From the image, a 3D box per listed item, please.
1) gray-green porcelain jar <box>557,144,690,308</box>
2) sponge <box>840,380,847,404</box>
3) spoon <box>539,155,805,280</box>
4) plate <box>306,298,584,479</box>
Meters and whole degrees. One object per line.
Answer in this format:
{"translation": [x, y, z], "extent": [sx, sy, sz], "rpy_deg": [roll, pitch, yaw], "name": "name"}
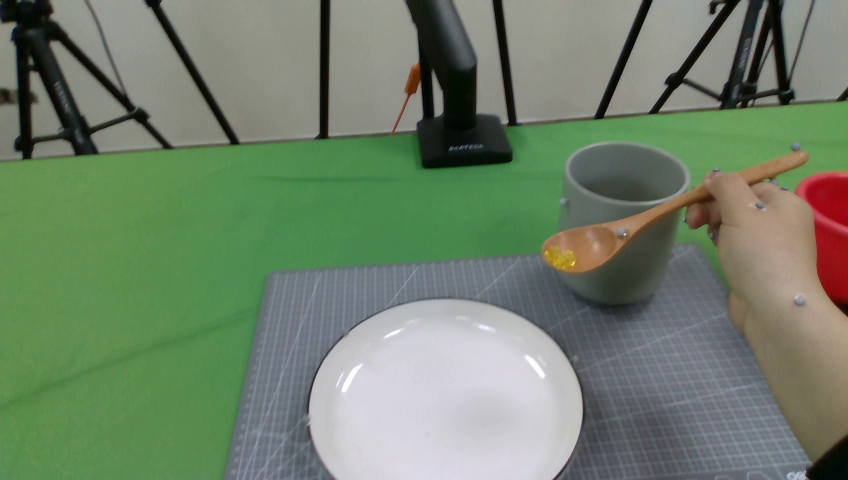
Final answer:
{"translation": [0.178, -0.009, 0.563], "extent": [0.106, 0.127, 0.105], "rpy_deg": [-2, 38, 2], "name": "gray-green porcelain jar"}
{"translation": [0.405, 0.157, 0.397], "extent": [0.118, 0.061, 0.204], "rpy_deg": [-6, 38, -5], "name": "sponge"}
{"translation": [0.173, -0.018, 0.424], "extent": [0.193, 0.022, 0.041], "rpy_deg": [-25, 43, 8], "name": "spoon"}
{"translation": [0.016, 0.129, 0.469], "extent": [0.207, 0.039, 0.205], "rpy_deg": [-1, 38, 2], "name": "plate"}
